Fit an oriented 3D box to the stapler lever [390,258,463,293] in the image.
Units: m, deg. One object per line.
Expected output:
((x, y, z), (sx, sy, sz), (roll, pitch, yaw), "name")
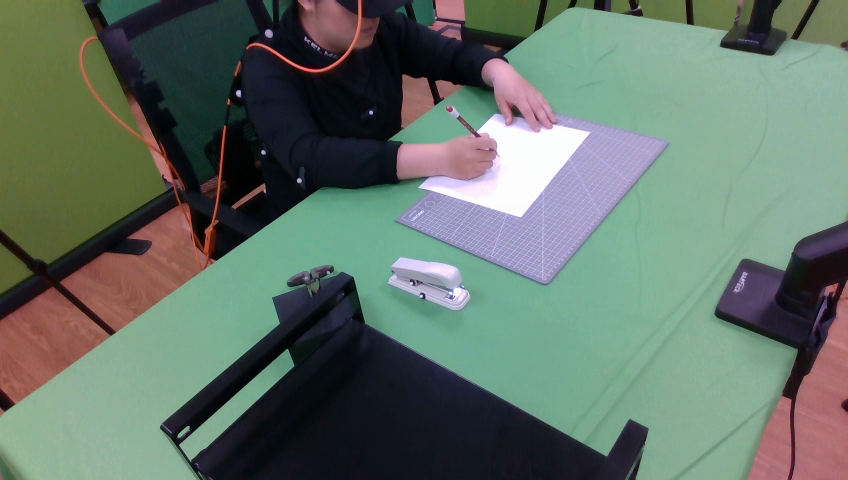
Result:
((0.003, 0.046, 0.881), (0.117, 0.040, 0.027), (17, 44, 29), "stapler lever")

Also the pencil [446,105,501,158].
((0.092, -0.186, 1.059), (0.012, 0.196, 0.012), (-14, 64, 30), "pencil")

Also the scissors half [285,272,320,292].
((-0.171, 0.063, 0.868), (0.040, 0.013, 0.174), (-11, 7, -21), "scissors half")

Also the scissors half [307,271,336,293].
((-0.151, 0.061, 0.872), (0.040, 0.013, 0.175), (-3, 6, -4), "scissors half")

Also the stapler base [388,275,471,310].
((0.007, 0.066, 0.897), (0.129, 0.024, 0.041), (17, 43, 29), "stapler base")
